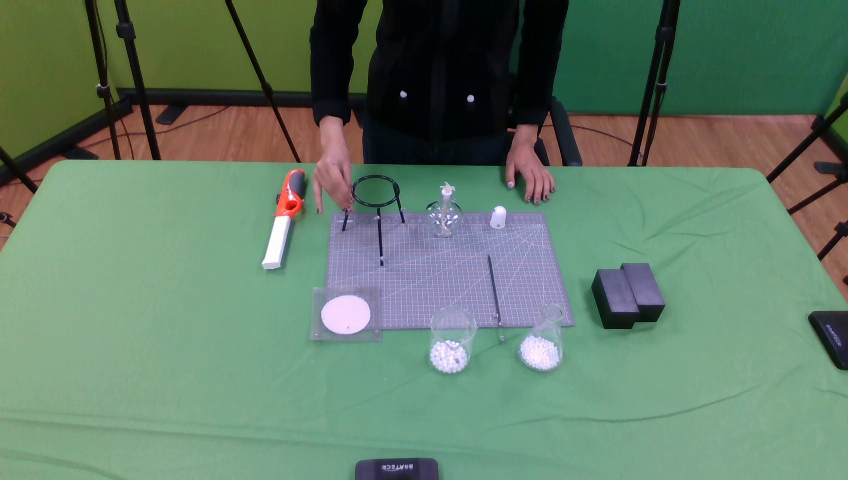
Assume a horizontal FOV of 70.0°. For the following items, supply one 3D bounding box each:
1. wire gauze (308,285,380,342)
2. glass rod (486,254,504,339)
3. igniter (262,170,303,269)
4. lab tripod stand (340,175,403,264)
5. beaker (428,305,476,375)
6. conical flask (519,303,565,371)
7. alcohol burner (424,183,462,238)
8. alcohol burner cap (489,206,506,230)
[{"bbox_3d":[-0.141,0.128,1.071,0.125,0.011,0.120,-1,46,-5],"label":"wire gauze"},{"bbox_3d":[0.129,0.099,1.119,0.008,0.008,0.198,-1,47,-4],"label":"glass rod"},{"bbox_3d":[-0.283,-0.050,1.222,0.057,0.025,0.275,-4,46,6],"label":"igniter"},{"bbox_3d":[-0.093,-0.050,1.160,0.148,0.132,0.147,2,44,-2],"label":"lab tripod stand"},{"bbox_3d":[0.044,0.169,0.987,0.074,0.101,0.083,1,47,-3],"label":"beaker"},{"bbox_3d":[0.201,0.155,0.997,0.075,0.122,0.075,2,46,-2],"label":"conical flask"},{"bbox_3d":[0.039,-0.063,1.197,0.078,0.119,0.077,2,44,-2],"label":"alcohol burner"},{"bbox_3d":[0.152,-0.047,1.241,0.034,0.048,0.033,2,45,-2],"label":"alcohol burner cap"}]
